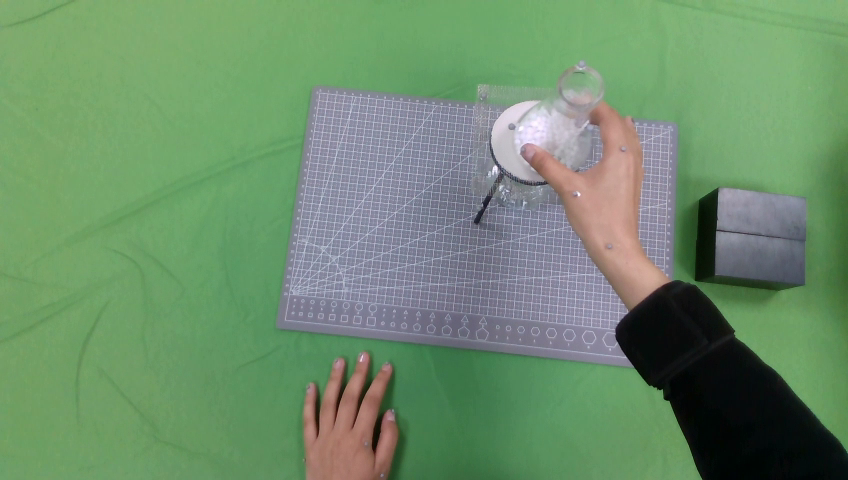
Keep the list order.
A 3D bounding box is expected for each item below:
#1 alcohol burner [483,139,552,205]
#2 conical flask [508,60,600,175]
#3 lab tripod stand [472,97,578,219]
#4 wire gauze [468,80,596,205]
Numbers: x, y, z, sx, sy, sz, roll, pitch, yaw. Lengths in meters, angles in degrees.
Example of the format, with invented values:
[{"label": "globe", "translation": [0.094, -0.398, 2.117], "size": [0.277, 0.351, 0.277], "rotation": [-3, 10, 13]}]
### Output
[{"label": "alcohol burner", "translation": [0.105, -0.080, 0.670], "size": [0.078, 0.119, 0.077], "rotation": [0, 80, 2]}, {"label": "conical flask", "translation": [0.118, -0.108, 0.525], "size": [0.075, 0.122, 0.075], "rotation": [0, 79, 0]}, {"label": "lab tripod stand", "translation": [0.105, -0.091, 0.662], "size": [0.148, 0.132, 0.147], "rotation": [0, 79, 1]}, {"label": "wire gauze", "translation": [0.107, -0.099, 0.594], "size": [0.125, 0.011, 0.121], "rotation": [5, 79, 1]}]
